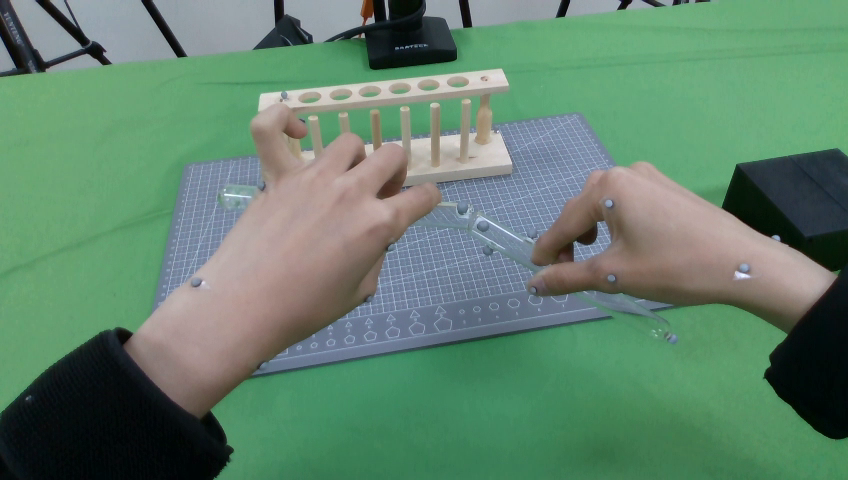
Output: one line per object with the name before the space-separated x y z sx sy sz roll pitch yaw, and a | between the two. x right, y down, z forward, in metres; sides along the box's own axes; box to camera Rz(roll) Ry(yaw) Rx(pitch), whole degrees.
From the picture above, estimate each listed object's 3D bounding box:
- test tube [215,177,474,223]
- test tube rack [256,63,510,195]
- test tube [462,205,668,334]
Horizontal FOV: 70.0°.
test tube | -0.046 -0.023 0.350 0.150 0.017 0.017 5 44 2
test tube rack | -0.037 -0.112 0.610 0.242 0.086 0.066 -7 44 -4
test tube | 0.089 0.020 0.367 0.151 0.017 0.017 29 43 -14
